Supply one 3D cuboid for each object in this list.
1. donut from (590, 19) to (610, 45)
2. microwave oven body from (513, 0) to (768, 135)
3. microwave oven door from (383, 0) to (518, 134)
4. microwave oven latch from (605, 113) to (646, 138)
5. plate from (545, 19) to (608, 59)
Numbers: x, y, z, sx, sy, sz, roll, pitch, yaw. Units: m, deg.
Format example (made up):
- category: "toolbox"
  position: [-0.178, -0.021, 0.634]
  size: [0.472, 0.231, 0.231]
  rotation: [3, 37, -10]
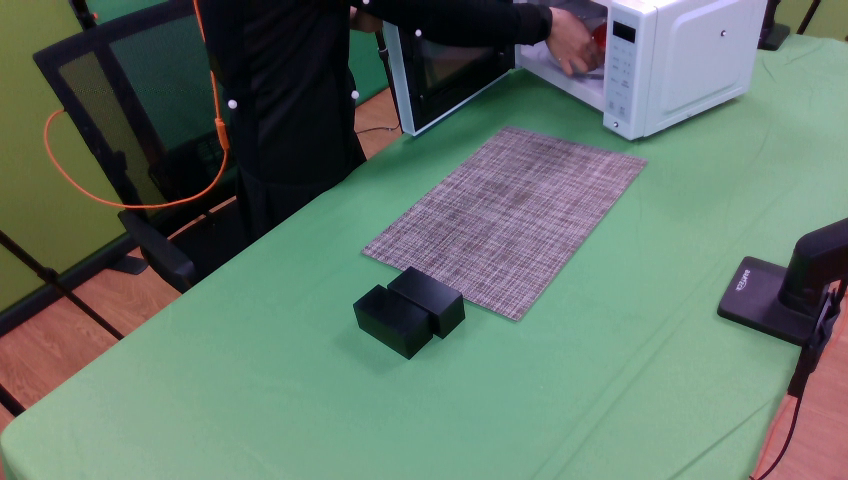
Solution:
- category: "donut"
  position: [0.406, -0.433, 1.298]
  size: [0.099, 0.048, 0.098]
  rotation: [-2, 60, 4]
- category: "microwave oven body"
  position: [0.410, -0.441, 1.235]
  size: [0.327, 0.261, 0.437]
  rotation: [-25, 42, -16]
- category: "microwave oven door"
  position: [0.069, -0.407, 1.253]
  size: [0.039, 0.245, 0.357]
  rotation: [27, 52, 35]
- category: "microwave oven latch"
  position: [0.375, -0.217, 1.130]
  size: [0.030, 0.029, 0.078]
  rotation: [-24, 42, -16]
- category: "plate"
  position: [0.361, -0.428, 1.293]
  size: [0.209, 0.038, 0.208]
  rotation: [0, 34, 1]
